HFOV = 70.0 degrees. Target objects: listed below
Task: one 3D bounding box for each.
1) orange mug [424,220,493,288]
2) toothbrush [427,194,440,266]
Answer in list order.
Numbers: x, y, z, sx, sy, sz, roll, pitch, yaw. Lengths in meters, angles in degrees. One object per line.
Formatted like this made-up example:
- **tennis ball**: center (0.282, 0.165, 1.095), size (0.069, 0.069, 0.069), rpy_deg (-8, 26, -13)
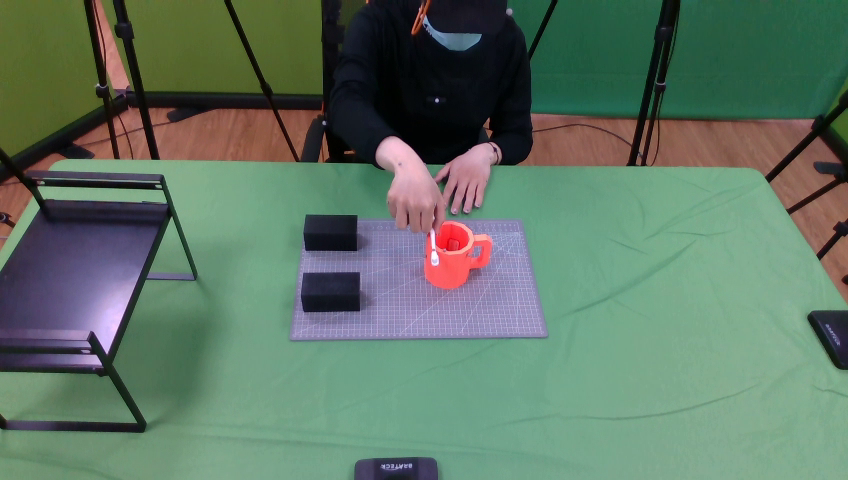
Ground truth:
- **orange mug**: center (0.063, 0.023, 1.119), size (0.126, 0.101, 0.083), rpy_deg (-9, 47, -7)
- **toothbrush**: center (0.015, -0.024, 1.079), size (0.014, 0.017, 0.180), rpy_deg (-10, 43, 6)
